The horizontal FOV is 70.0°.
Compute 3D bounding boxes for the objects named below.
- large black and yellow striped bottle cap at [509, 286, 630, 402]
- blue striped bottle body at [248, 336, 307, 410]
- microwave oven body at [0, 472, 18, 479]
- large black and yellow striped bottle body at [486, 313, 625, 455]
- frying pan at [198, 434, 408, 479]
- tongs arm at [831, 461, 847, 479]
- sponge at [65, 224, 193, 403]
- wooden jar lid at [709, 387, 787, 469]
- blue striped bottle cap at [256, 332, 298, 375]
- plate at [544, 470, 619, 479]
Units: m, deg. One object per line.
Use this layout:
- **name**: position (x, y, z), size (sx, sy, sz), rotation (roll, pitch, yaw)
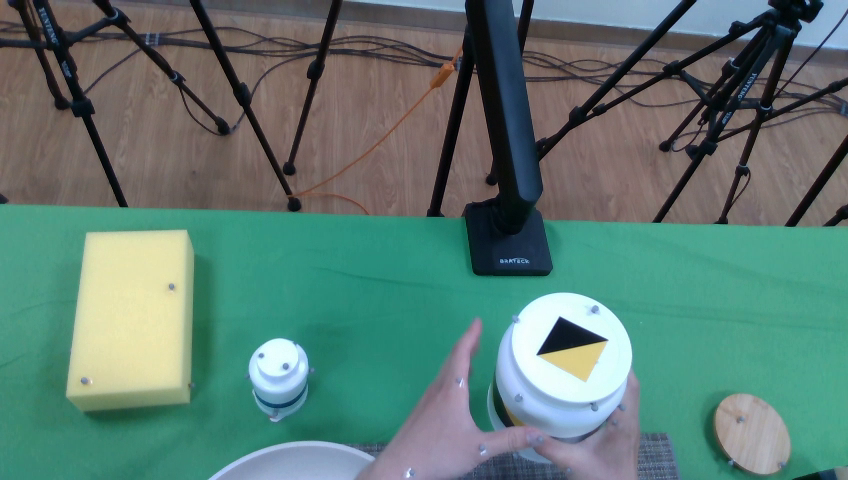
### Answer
- **large black and yellow striped bottle cap**: position (0.140, 0.098, 0.584), size (0.115, 0.019, 0.114), rotation (0, 58, 0)
- **blue striped bottle body**: position (-0.166, 0.148, 0.692), size (0.063, 0.121, 0.062), rotation (5, 59, -8)
- **microwave oven body**: position (-0.525, 0.377, 0.394), size (0.327, 0.261, 0.437), rotation (2, 60, -11)
- **large black and yellow striped bottle body**: position (0.139, 0.145, 0.655), size (0.131, 0.185, 0.129), rotation (1, 57, 0)
- **frying pan**: position (-0.115, 0.430, 0.545), size (0.307, 0.103, 0.482), rotation (0, 52, -10)
- **tongs arm**: position (0.553, 0.449, 0.687), size (0.051, 0.026, 0.382), rotation (-3, 71, -15)
- **sponge**: position (-0.345, 0.083, 0.726), size (0.118, 0.061, 0.205), rotation (-3, 62, -14)
- **wooden jar lid**: position (0.434, 0.254, 0.819), size (0.108, 0.021, 0.107), rotation (5, 61, -9)
- **blue striped bottle cap**: position (-0.158, 0.121, 0.649), size (0.045, 0.021, 0.044), rotation (5, 61, -9)
- **plate**: position (0.185, 0.370, 0.682), size (0.209, 0.038, 0.207), rotation (5, 59, -8)
